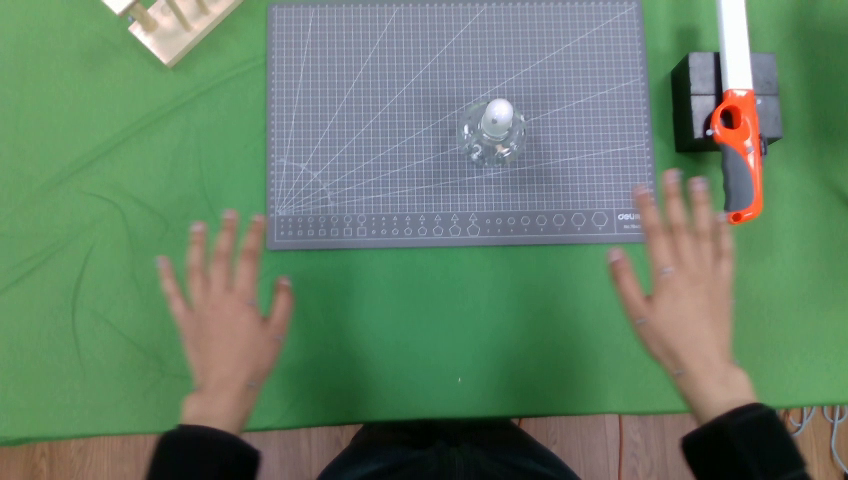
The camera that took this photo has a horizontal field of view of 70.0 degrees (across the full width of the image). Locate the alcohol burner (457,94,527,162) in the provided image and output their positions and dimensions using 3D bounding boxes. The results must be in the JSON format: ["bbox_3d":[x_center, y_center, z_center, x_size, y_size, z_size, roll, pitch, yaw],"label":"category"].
[{"bbox_3d":[0.076,-0.126,0.652,0.078,0.119,0.077,0,80,-3],"label":"alcohol burner"}]

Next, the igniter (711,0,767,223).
[{"bbox_3d":[0.341,-0.154,0.661,0.057,0.025,0.275,2,81,1],"label":"igniter"}]

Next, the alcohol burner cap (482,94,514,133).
[{"bbox_3d":[0.077,-0.131,0.616,0.034,0.048,0.034,0,84,3],"label":"alcohol burner cap"}]

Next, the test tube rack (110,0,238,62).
[{"bbox_3d":[-0.237,-0.323,0.685,0.066,0.085,0.242,44,84,5],"label":"test tube rack"}]
